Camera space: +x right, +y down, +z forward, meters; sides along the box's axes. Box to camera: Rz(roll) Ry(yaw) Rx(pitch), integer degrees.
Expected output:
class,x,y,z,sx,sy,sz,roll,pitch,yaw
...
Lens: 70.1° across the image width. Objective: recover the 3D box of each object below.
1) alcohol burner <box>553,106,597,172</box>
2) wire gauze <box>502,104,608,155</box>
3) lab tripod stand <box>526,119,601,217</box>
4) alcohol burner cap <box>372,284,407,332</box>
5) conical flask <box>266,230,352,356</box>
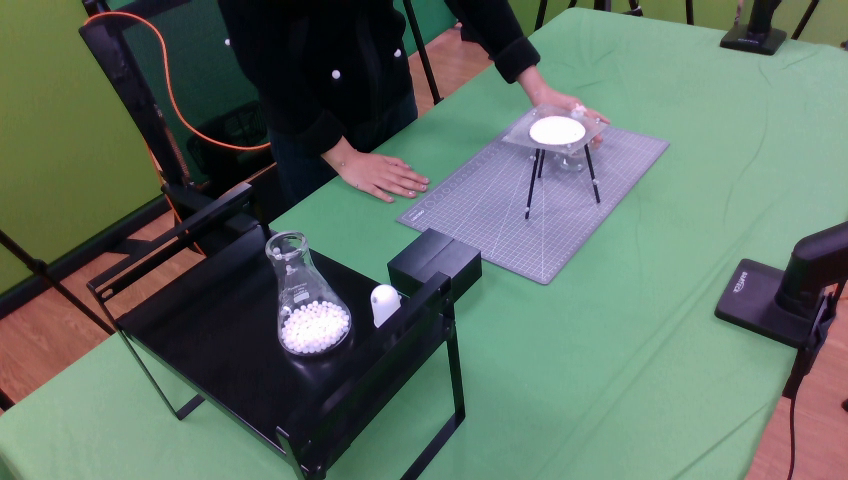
class,x,y,z,sx,sy,sz,roll,pitch,yaw
alcohol burner,0.267,-0.182,1.070,0.078,0.119,0.077,-5,41,4
wire gauze,0.207,-0.173,0.952,0.120,0.011,0.125,24,48,31
lab tripod stand,0.221,-0.121,0.994,0.148,0.132,0.147,-3,39,3
alcohol burner cap,-0.036,0.066,0.608,0.034,0.048,0.033,-5,38,5
conical flask,-0.117,0.047,0.580,0.075,0.122,0.075,-5,40,4
